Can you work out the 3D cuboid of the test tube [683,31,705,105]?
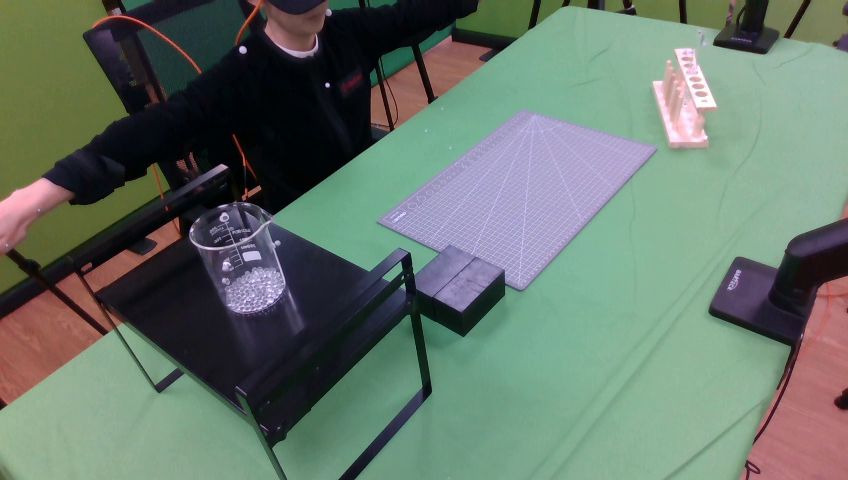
[{"bbox_3d":[0.512,-0.324,1.149,0.017,0.151,0.017,-5,44,5],"label":"test tube"}]

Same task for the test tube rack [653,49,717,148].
[{"bbox_3d":[0.502,-0.281,1.177,0.066,0.085,0.241,1,41,10],"label":"test tube rack"}]

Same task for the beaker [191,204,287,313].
[{"bbox_3d":[-0.189,0.021,0.642,0.084,0.101,0.073,-16,41,-11],"label":"beaker"}]
